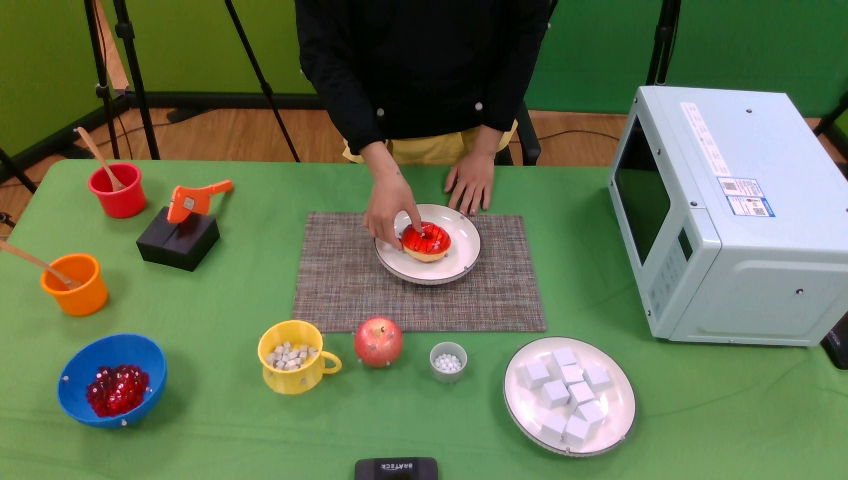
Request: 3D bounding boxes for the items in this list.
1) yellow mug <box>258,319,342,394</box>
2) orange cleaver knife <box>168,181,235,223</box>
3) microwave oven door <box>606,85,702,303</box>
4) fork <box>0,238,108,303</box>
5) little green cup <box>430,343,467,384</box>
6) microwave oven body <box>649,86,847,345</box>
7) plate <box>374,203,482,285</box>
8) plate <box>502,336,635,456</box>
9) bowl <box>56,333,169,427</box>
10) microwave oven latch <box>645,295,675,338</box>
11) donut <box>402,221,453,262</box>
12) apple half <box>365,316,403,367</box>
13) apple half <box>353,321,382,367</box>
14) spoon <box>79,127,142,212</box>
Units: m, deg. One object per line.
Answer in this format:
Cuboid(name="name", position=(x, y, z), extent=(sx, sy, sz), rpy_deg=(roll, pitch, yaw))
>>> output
Cuboid(name="yellow mug", position=(-0.196, 0.189, 0.972), extent=(0.131, 0.064, 0.099), rpy_deg=(9, 46, 4))
Cuboid(name="orange cleaver knife", position=(-0.436, -0.078, 1.196), extent=(0.012, 0.077, 0.211), rpy_deg=(16, 15, 10))
Cuboid(name="microwave oven door", position=(0.423, -0.094, 1.140), extent=(0.039, 0.245, 0.353), rpy_deg=(2, 46, -1))
Cuboid(name="fork", position=(-0.633, 0.048, 1.017), extent=(0.208, 0.018, 0.028), rpy_deg=(40, 41, -27))
Cuboid(name="little green cup", position=(0.039, 0.203, 0.994), extent=(0.061, 0.039, 0.061), rpy_deg=(2, 46, -2))
Cuboid(name="microwave oven body", position=(0.567, -0.053, 1.118), extent=(0.326, 0.261, 0.439), rpy_deg=(2, 45, -1))
Cuboid(name="plate", position=(0.007, 0.011, 1.172), extent=(0.209, 0.038, 0.208), rpy_deg=(2, 46, -2))
Cuboid(name="plate", position=(0.225, 0.248, 0.963), extent=(0.208, 0.039, 0.206), rpy_deg=(2, 46, -2))
Cuboid(name="bowl", position=(-0.456, 0.223, 0.911), extent=(0.151, 0.077, 0.150), rpy_deg=(3, 45, -2))
Cuboid(name="microwave oven latch", position=(0.412, 0.134, 1.061), extent=(0.030, 0.029, 0.078), rpy_deg=(3, 45, 0))
Cuboid(name="donut", position=(0.006, 0.001, 1.165), extent=(0.099, 0.048, 0.098), rpy_deg=(5, 40, -4))
Cuboid(name="apple half", position=(-0.063, 0.165, 1.000), extent=(0.053, 0.075, 0.080), rpy_deg=(-16, 45, -24))
Cuboid(name="apple half", position=(-0.098, 0.177, 0.984), extent=(0.033, 0.081, 0.081), rpy_deg=(-17, 49, -25))
Cuboid(name="spoon", position=(-0.624, -0.140, 1.203), extent=(0.041, 0.021, 0.194), rpy_deg=(-33, 100, -26))
